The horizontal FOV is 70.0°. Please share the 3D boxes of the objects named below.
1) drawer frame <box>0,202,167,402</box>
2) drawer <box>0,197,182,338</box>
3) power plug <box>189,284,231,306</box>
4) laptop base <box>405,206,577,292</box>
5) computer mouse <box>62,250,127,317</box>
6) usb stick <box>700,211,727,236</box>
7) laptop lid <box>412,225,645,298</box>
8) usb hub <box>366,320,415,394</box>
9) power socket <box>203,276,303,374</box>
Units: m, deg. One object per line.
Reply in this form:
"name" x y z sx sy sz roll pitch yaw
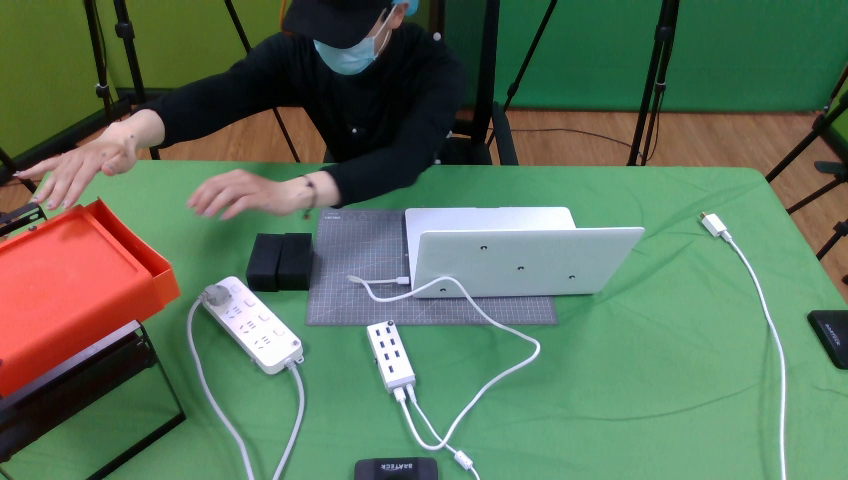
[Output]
"drawer frame" -0.494 0.072 0.802 0.200 0.083 0.213 35 54 25
"drawer" -0.477 0.058 0.819 0.193 0.073 0.211 35 54 25
"power plug" -0.368 0.099 1.037 0.072 0.053 0.035 -22 53 -26
"laptop base" 0.143 0.018 1.196 0.355 0.023 0.234 -1 43 -6
"computer mouse" -0.457 0.054 0.842 0.063 0.041 0.116 -7 42 -7
"usb stick" 0.606 -0.038 1.273 0.027 0.021 0.059 -18 57 -20
"laptop lid" 0.161 0.042 1.012 0.357 0.242 0.013 0 59 -7
"usb hub" -0.056 0.192 1.009 0.049 0.025 0.124 -12 49 -16
"power socket" -0.296 0.141 1.034 0.072 0.033 0.225 -34 58 -30
